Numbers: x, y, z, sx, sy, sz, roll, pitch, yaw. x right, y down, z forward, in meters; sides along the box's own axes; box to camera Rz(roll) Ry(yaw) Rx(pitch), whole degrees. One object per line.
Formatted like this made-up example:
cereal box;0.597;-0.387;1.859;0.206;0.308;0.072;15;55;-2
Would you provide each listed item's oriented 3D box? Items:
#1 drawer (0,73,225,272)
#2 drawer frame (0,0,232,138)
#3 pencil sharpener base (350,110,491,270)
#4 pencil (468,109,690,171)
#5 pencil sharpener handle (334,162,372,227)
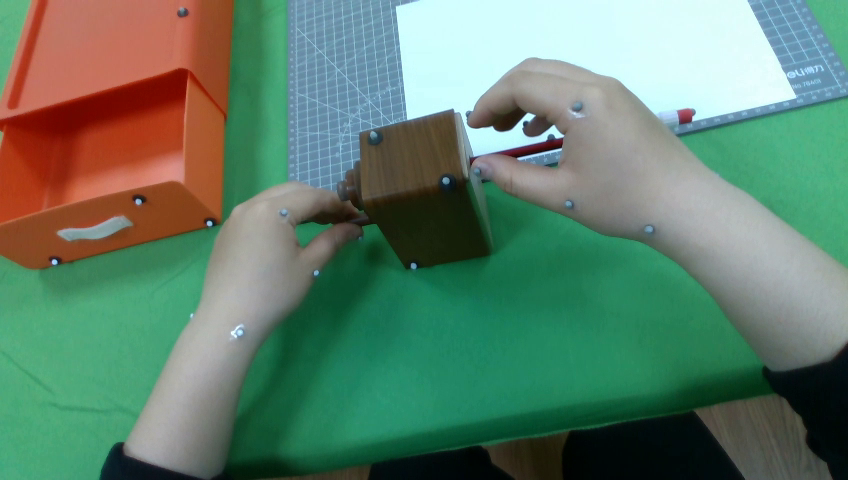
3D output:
drawer;-0.286;-0.092;0.557;0.194;0.074;0.209;-14;60;9
drawer frame;-0.303;-0.193;0.613;0.201;0.083;0.211;-13;60;9
pencil sharpener base;0.000;-0.030;0.430;0.076;0.108;0.061;-12;60;10
pencil;0.072;-0.058;0.392;0.194;0.012;0.012;-12;60;9
pencil sharpener handle;-0.052;-0.027;0.428;0.030;0.068;0.035;-12;67;10
